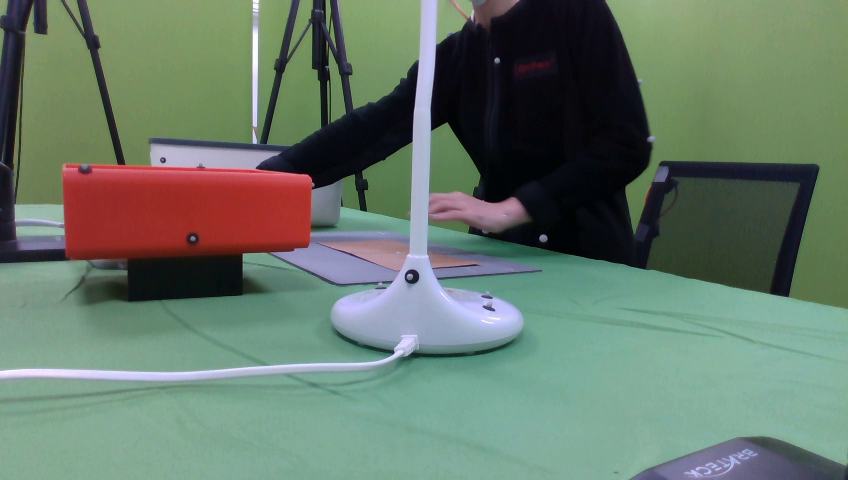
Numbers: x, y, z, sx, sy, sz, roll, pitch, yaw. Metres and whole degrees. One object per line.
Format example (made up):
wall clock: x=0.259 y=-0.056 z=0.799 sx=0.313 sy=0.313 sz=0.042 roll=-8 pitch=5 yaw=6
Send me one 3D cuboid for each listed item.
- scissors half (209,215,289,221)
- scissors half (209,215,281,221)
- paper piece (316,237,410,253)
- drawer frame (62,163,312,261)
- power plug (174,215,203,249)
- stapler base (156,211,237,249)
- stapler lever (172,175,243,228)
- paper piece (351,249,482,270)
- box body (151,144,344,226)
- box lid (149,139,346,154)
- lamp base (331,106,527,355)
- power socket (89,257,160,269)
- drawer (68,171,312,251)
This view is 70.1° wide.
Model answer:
scissors half: x=-0.357 y=-0.044 z=1.235 sx=0.175 sy=0.013 sz=0.040 roll=1 pitch=-2 yaw=8
scissors half: x=-0.364 y=-0.044 z=1.215 sx=0.174 sy=0.013 sz=0.040 roll=0 pitch=3 yaw=26
paper piece: x=-0.083 y=0.008 z=0.951 sx=0.136 sy=0.004 sz=0.134 roll=-2 pitch=9 yaw=-31
drawer frame: x=-0.248 y=-0.036 z=0.626 sx=0.215 sy=0.082 sz=0.200 roll=-3 pitch=9 yaw=-31
power plug: x=-0.347 y=-0.011 z=0.891 sx=0.035 sy=0.052 sz=0.072 roll=-5 pitch=-2 yaw=-24
stapler base: x=-0.227 y=-0.017 z=0.624 sx=0.041 sy=0.024 sz=0.130 roll=19 pitch=9 yaw=-2
stapler lever: x=-0.217 y=-0.042 z=0.618 sx=0.027 sy=0.040 sz=0.118 roll=19 pitch=11 yaw=-2
paper piece: x=-0.013 y=0.026 z=0.841 sx=0.139 sy=0.008 sz=0.135 roll=0 pitch=11 yaw=-32
box body: x=-0.370 y=-0.119 z=1.264 sx=0.366 sy=0.160 sz=0.253 roll=-1 pitch=8 yaw=-24
box lid: x=-0.365 y=-0.192 z=1.255 sx=0.373 sy=0.015 sz=0.262 roll=-1 pitch=8 yaw=-24
lamp base: x=0.006 y=-0.012 z=0.478 sx=0.161 sy=0.180 sz=0.179 roll=2 pitch=10 yaw=2
power socket: x=-0.409 y=0.004 z=0.793 sx=0.072 sy=0.032 sz=0.225 roll=-2 pitch=8 yaw=-38
drawer: x=-0.247 y=-0.036 z=0.629 sx=0.213 sy=0.073 sz=0.193 roll=-3 pitch=9 yaw=-30
